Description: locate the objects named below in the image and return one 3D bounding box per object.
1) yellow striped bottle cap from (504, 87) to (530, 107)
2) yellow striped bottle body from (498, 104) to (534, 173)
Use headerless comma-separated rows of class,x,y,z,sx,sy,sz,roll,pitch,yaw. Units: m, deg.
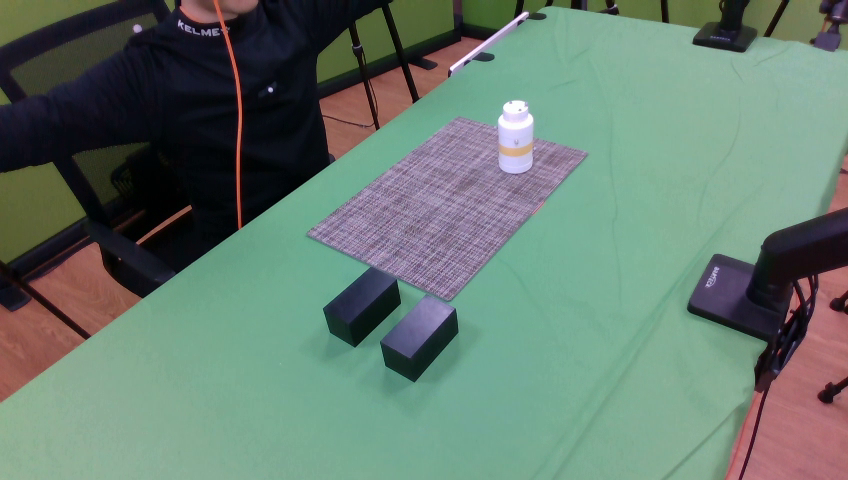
yellow striped bottle cap,0.159,-0.244,1.033,0.044,0.019,0.044,-7,34,5
yellow striped bottle body,0.164,-0.186,1.079,0.063,0.121,0.062,-4,41,4
